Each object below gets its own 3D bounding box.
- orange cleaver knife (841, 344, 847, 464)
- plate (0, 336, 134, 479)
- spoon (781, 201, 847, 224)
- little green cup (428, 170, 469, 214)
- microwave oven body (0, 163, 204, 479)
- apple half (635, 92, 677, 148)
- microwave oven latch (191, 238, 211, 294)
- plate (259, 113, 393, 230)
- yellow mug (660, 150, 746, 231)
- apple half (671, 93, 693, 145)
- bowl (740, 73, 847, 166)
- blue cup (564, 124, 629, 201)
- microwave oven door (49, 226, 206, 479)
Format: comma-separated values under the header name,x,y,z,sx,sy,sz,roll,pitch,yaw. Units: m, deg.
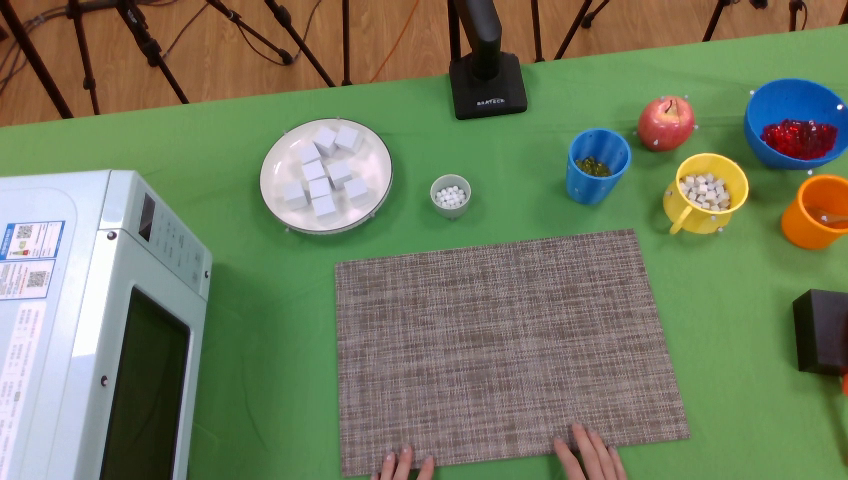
name,x,y,z,sx,sy,sz,roll,pitch,yaw
orange cleaver knife,0.542,0.171,0.755,0.012,0.077,0.211,7,96,10
plate,-0.460,0.223,0.749,0.209,0.038,0.207,-1,66,2
spoon,0.577,-0.030,0.808,0.041,0.192,0.022,-46,114,-16
little green cup,0.039,-0.071,0.922,0.061,0.039,0.061,-2,65,4
microwave oven body,-0.476,0.166,0.720,0.326,0.262,0.438,-3,66,2
apple half,0.353,-0.183,0.934,0.053,0.075,0.080,-2,68,6
microwave oven latch,-0.329,0.037,0.876,0.030,0.030,0.078,-1,66,3
plate,-0.150,-0.105,0.950,0.207,0.039,0.206,-1,65,3
yellow mug,0.395,-0.062,0.880,0.099,0.064,0.130,39,75,19
apple half,0.393,-0.184,0.931,0.033,0.082,0.080,-2,65,6
bowl,0.544,-0.166,0.911,0.151,0.077,0.150,-1,66,4
blue cup,0.245,-0.106,0.891,0.092,0.101,0.092,-1,67,2
microwave oven door,-0.329,0.193,0.692,0.039,0.246,0.353,-4,65,2
